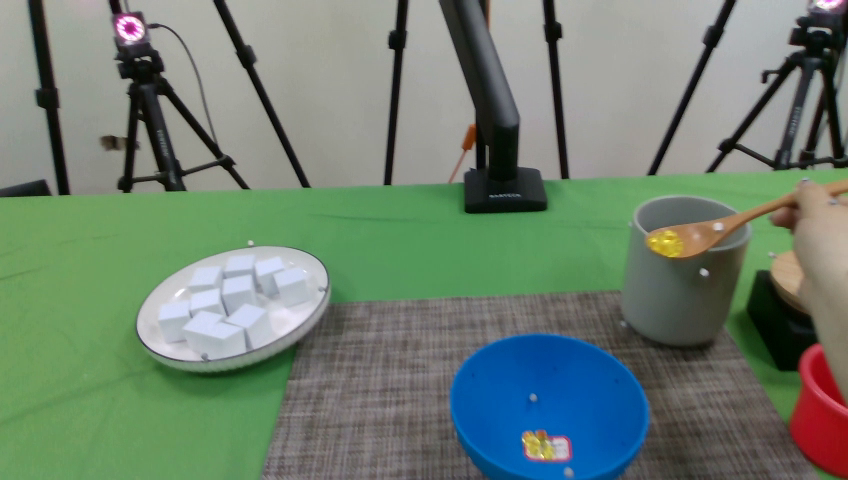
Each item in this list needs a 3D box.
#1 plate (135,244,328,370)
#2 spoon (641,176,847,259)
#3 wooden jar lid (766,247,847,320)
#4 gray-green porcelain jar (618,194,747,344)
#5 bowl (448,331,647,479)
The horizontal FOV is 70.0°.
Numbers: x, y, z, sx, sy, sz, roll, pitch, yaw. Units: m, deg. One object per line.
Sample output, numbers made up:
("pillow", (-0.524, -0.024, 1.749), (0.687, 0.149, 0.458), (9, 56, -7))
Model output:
("plate", (-0.209, 0.075, 0.678), (0.209, 0.038, 0.207), (-3, 33, 2))
("spoon", (0.274, -0.023, 0.487), (0.193, 0.022, 0.041), (-21, 34, 15))
("wooden jar lid", (0.394, 0.043, 0.594), (0.108, 0.021, 0.107), (-3, 32, 3))
("gray-green porcelain jar", (0.254, 0.033, 0.611), (0.106, 0.127, 0.105), (-3, 33, 2))
("bowl", (0.095, 0.152, 0.486), (0.151, 0.077, 0.150), (-2, 32, 2))
